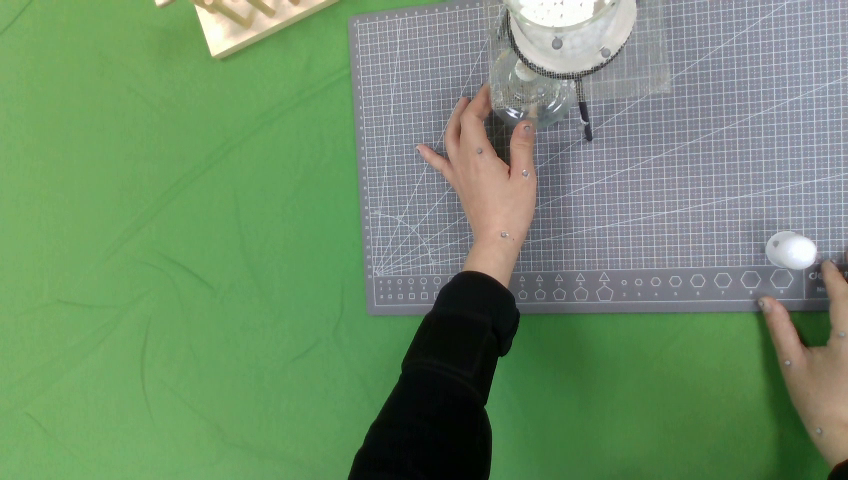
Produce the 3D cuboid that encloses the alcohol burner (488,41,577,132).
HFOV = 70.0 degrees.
[{"bbox_3d":[0.091,-0.132,0.510,0.078,0.119,0.078,1,93,13],"label":"alcohol burner"}]

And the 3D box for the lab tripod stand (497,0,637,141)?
[{"bbox_3d":[0.121,-0.158,0.490,0.148,0.131,0.148,1,94,13],"label":"lab tripod stand"}]

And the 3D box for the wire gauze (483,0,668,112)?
[{"bbox_3d":[0.104,-0.156,0.427,0.125,0.011,0.121,-3,96,12],"label":"wire gauze"}]

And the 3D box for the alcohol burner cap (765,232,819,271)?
[{"bbox_3d":[0.306,0.010,0.500,0.034,0.048,0.034,1,93,15],"label":"alcohol burner cap"}]

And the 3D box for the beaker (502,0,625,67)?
[{"bbox_3d":[0.087,-0.154,0.381,0.083,0.100,0.074,11,97,14],"label":"beaker"}]

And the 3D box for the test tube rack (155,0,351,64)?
[{"bbox_3d":[-0.128,-0.257,0.576,0.242,0.085,0.066,-20,88,15],"label":"test tube rack"}]
